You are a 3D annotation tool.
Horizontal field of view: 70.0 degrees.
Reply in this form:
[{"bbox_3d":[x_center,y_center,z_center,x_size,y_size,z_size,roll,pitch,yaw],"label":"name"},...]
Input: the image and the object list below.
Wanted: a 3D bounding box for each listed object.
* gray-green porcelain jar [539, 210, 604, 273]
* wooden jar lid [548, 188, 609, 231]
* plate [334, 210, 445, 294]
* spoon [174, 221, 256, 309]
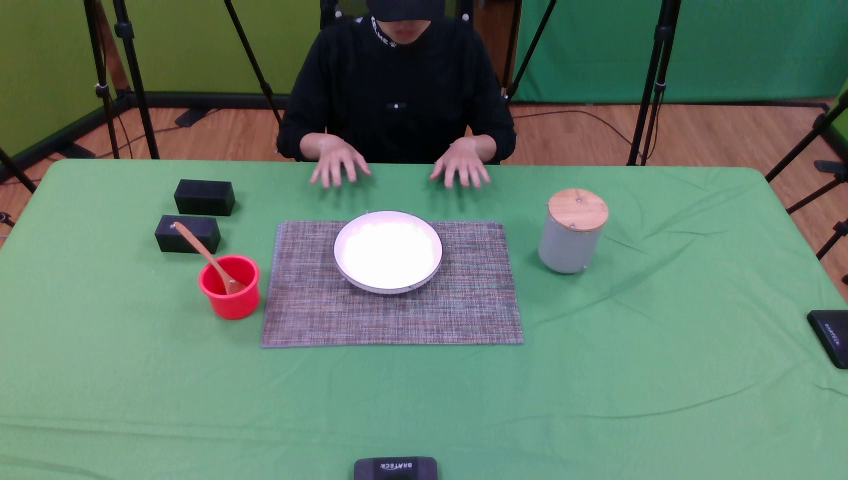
[{"bbox_3d":[0.277,-0.007,1.151,0.106,0.127,0.105,2,46,-2],"label":"gray-green porcelain jar"},{"bbox_3d":[0.280,-0.052,1.105,0.108,0.021,0.107,0,48,0],"label":"wooden jar lid"},{"bbox_3d":[-0.066,0.026,1.150,0.208,0.039,0.206,2,46,-2],"label":"plate"},{"bbox_3d":[-0.360,0.043,1.043,0.194,0.021,0.041,54,51,-14],"label":"spoon"}]
